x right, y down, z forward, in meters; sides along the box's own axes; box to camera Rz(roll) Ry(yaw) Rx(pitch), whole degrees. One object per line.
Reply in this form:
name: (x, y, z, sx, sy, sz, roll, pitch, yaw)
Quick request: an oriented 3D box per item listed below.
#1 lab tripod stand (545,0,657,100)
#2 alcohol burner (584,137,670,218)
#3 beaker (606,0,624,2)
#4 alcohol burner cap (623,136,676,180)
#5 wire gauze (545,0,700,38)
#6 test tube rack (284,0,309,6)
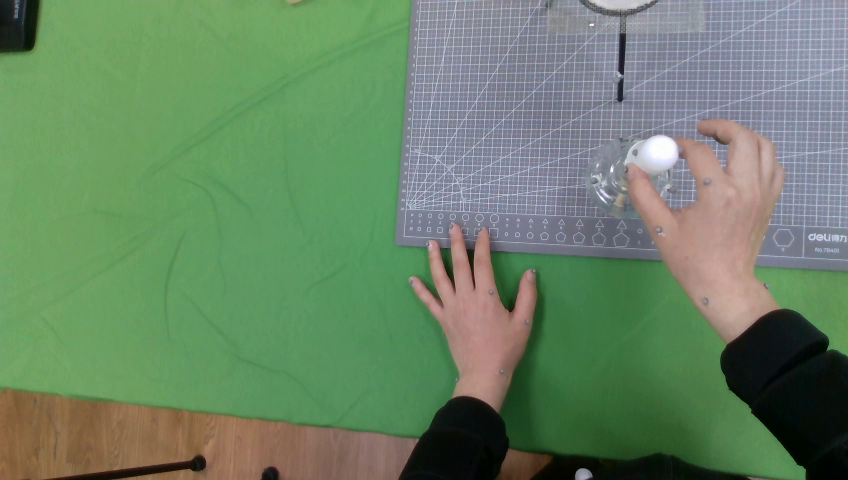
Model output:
lab tripod stand: (0.178, -0.220, 0.560, 0.148, 0.132, 0.148, -1, 86, 12)
alcohol burner: (0.188, -0.060, 0.556, 0.078, 0.119, 0.077, -1, 85, 11)
beaker: (0.147, -0.232, 0.451, 0.083, 0.100, 0.074, 17, 90, 14)
alcohol burner cap: (0.178, -0.066, 0.472, 0.034, 0.048, 0.034, 0, 89, 3)
wire gauze: (0.163, -0.226, 0.497, 0.125, 0.011, 0.121, 3, 90, 11)
test tube rack: (-0.061, -0.339, 0.652, 0.242, 0.085, 0.066, -14, 82, 11)
